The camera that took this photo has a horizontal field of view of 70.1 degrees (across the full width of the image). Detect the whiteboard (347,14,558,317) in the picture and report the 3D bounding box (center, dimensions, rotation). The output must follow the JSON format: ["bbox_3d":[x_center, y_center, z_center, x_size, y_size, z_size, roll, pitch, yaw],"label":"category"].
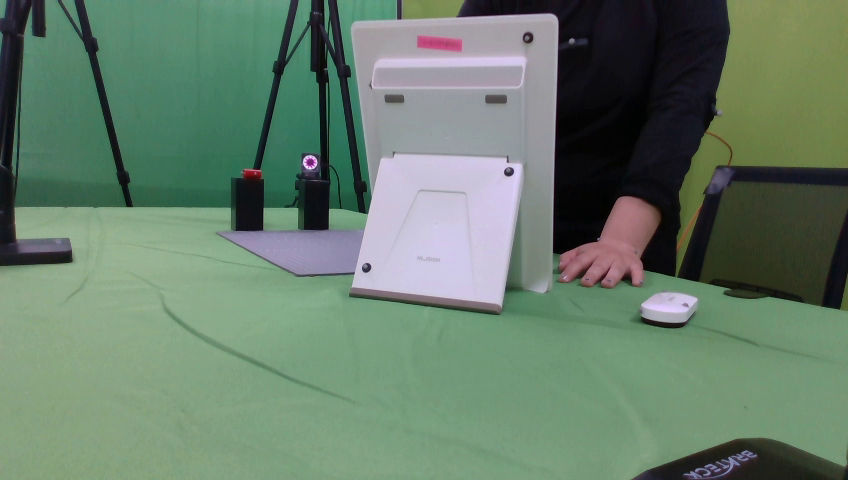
[{"bbox_3d":[0.012,-0.055,0.608,0.216,0.305,0.144,6,28,20],"label":"whiteboard"}]

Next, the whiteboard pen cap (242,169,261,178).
[{"bbox_3d":[-0.326,-0.125,1.144,0.032,0.017,0.017,0,7,-37],"label":"whiteboard pen cap"}]

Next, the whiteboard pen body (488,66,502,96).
[{"bbox_3d":[0.080,-0.177,0.679,0.017,0.017,0.140,4,25,5],"label":"whiteboard pen body"}]

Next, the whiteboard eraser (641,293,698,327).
[{"bbox_3d":[0.240,0.066,0.590,0.041,0.019,0.102,5,7,32],"label":"whiteboard eraser"}]
